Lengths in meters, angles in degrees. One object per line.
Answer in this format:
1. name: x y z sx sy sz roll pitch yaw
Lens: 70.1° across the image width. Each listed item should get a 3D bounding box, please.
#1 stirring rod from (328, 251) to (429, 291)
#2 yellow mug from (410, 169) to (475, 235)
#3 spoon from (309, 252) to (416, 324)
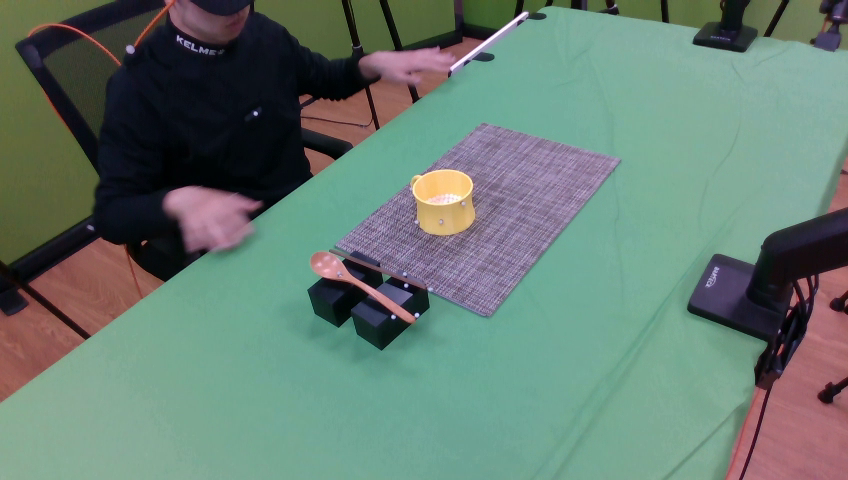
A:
1. stirring rod: -0.068 0.042 0.860 0.175 0.006 0.014 18 13 28
2. yellow mug: 0.022 -0.070 1.007 0.129 0.064 0.100 29 52 36
3. spoon: -0.087 0.066 0.830 0.192 0.022 0.042 28 48 32
